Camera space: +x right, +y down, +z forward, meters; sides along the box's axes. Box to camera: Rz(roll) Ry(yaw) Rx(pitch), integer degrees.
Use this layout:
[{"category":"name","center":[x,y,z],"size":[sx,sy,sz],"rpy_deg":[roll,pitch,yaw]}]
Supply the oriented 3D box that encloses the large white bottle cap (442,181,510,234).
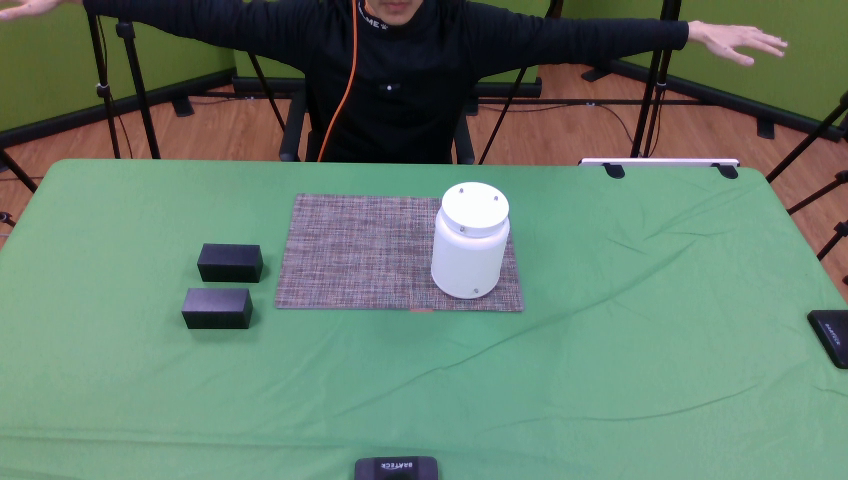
[{"category":"large white bottle cap","center":[0.087,-0.057,1.022],"size":[0.115,0.018,0.114],"rpy_deg":[2,47,-2]}]

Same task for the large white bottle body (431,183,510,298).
[{"category":"large white bottle body","center":[0.082,0.000,1.083],"size":[0.131,0.185,0.130],"rpy_deg":[2,47,-2]}]
